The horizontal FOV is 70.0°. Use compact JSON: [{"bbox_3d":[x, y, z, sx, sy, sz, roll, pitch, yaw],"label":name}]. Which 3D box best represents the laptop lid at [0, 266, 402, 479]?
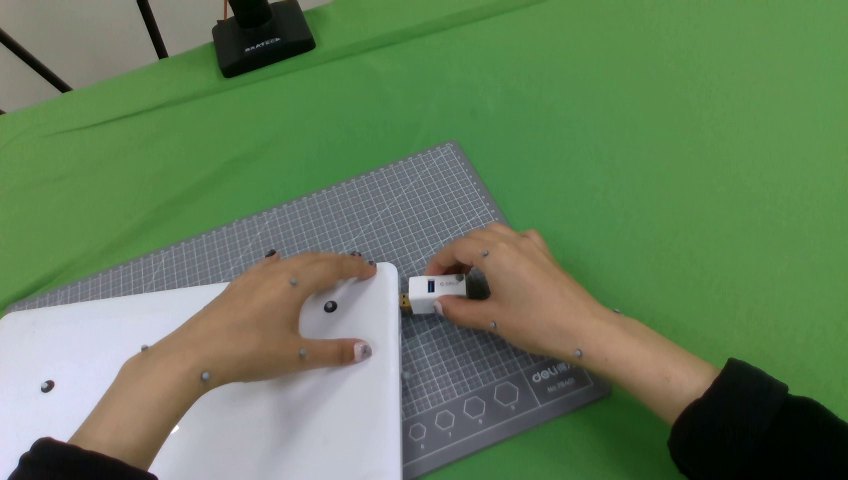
[{"bbox_3d":[-0.190,0.136,0.438,0.356,0.013,0.239,-7,53,7],"label":"laptop lid"}]

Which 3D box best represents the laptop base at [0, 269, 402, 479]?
[{"bbox_3d":[-0.188,0.141,0.449,0.354,0.023,0.233,-8,54,6],"label":"laptop base"}]

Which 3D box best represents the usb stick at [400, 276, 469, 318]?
[{"bbox_3d":[0.005,0.045,0.468,0.059,0.027,0.021,-8,51,9],"label":"usb stick"}]
